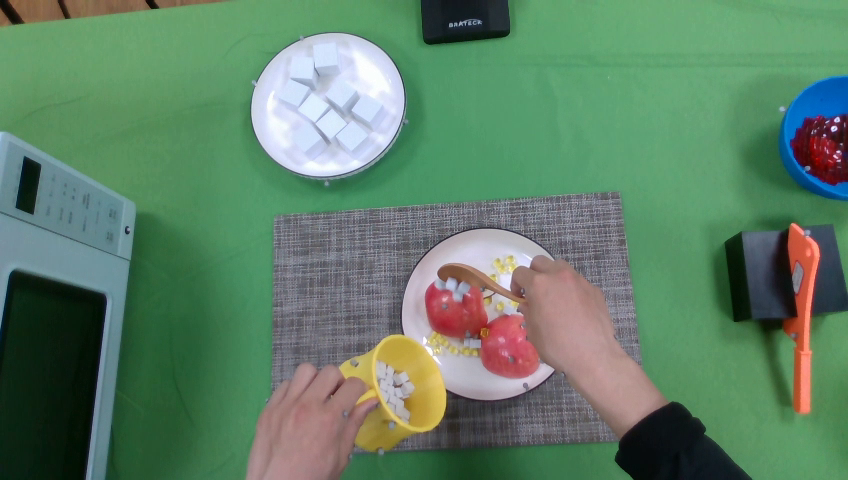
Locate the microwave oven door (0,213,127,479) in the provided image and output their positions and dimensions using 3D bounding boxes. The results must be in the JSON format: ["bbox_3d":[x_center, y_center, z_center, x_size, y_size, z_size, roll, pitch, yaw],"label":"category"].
[{"bbox_3d":[-0.409,0.167,0.631,0.039,0.245,0.354,-1,77,5],"label":"microwave oven door"}]

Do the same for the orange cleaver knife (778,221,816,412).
[{"bbox_3d":[0.416,0.086,0.683,0.012,0.077,0.212,-3,101,8],"label":"orange cleaver knife"}]

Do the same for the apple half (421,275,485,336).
[{"bbox_3d":[0.033,0.072,0.720,0.074,0.053,0.080,-6,77,6],"label":"apple half"}]

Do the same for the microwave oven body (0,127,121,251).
[{"bbox_3d":[-0.554,0.128,0.657,0.326,0.261,0.439,0,78,4],"label":"microwave oven body"}]

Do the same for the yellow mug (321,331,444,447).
[{"bbox_3d":[-0.046,0.151,0.598,0.064,0.131,0.099,-35,72,34],"label":"yellow mug"}]

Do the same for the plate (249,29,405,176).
[{"bbox_3d":[-0.127,-0.181,0.811,0.207,0.039,0.206,-1,77,5],"label":"plate"}]

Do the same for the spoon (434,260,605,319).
[{"bbox_3d":[0.093,0.054,0.628,0.192,0.042,0.021,18,62,33],"label":"spoon"}]

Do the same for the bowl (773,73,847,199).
[{"bbox_3d":[0.485,-0.113,0.724,0.151,0.077,0.150,-1,77,5],"label":"bowl"}]

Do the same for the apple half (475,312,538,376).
[{"bbox_3d":[0.097,0.122,0.714,0.081,0.033,0.081,-1,74,5],"label":"apple half"}]

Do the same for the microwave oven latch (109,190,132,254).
[{"bbox_3d":[-0.396,-0.023,0.777,0.030,0.029,0.079,2,78,5],"label":"microwave oven latch"}]

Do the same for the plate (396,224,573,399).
[{"bbox_3d":[0.071,0.085,0.730,0.209,0.038,0.208,-1,78,4],"label":"plate"}]
